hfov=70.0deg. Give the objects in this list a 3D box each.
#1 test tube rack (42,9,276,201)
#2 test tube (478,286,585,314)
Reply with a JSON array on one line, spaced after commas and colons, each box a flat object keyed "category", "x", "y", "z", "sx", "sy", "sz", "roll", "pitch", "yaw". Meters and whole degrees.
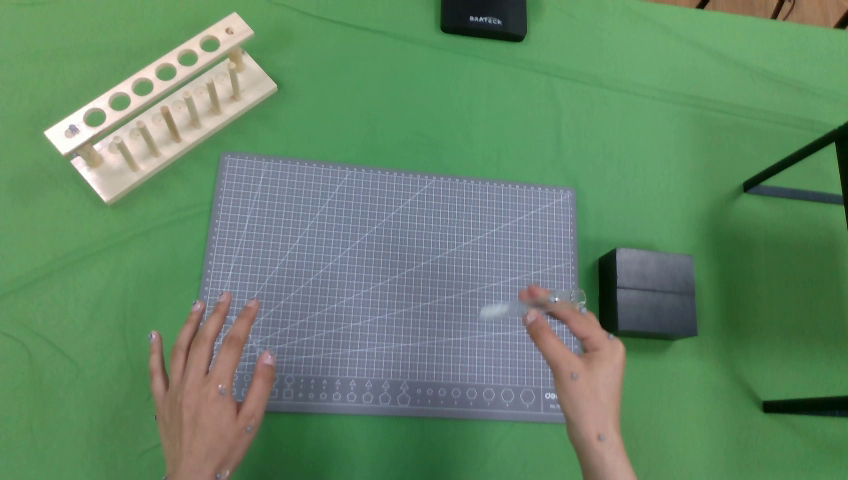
[{"category": "test tube rack", "x": -0.289, "y": -0.154, "z": 0.692, "sx": 0.242, "sy": 0.085, "sz": 0.066, "roll": -41, "pitch": 84, "yaw": -18}, {"category": "test tube", "x": 0.092, "y": 0.056, "z": 0.555, "sx": 0.017, "sy": 0.150, "sz": 0.017, "roll": 5, "pitch": 78, "yaw": -26}]
